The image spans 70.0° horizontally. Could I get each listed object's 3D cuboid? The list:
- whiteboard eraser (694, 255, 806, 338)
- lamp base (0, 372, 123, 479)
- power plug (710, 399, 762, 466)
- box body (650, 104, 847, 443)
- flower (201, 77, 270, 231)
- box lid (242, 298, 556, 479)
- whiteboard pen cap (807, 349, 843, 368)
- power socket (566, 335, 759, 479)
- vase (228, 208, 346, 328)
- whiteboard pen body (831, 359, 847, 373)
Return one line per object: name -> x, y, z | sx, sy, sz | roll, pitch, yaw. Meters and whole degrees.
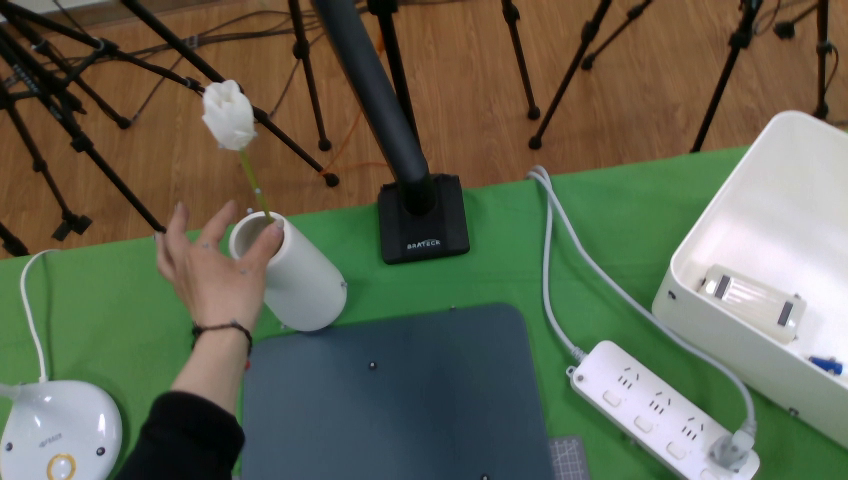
whiteboard eraser -> 0.381, 0.066, 0.713 | 0.112, 0.042, 0.055 | 26, 74, 15
lamp base -> -0.478, 0.214, 0.702 | 0.160, 0.182, 0.177 | -37, 64, -9
power plug -> 0.338, 0.210, 0.645 | 0.072, 0.053, 0.035 | -35, 65, -12
box body -> 0.463, 0.062, 0.646 | 0.361, 0.162, 0.253 | 35, 75, 20
flower -> -0.167, -0.013, 0.658 | 0.043, 0.365, 0.038 | 27, 56, 24
box lid -> -0.040, 0.216, 0.733 | 0.371, 0.015, 0.261 | -9, 65, 4
whiteboard pen cap -> 0.455, 0.135, 0.687 | 0.033, 0.018, 0.018 | 11, 68, 14
power socket -> 0.267, 0.197, 0.687 | 0.225, 0.033, 0.072 | 39, 76, 22
vase -> -0.160, 0.036, 0.726 | 0.098, 0.201, 0.097 | -3, 64, 6
whiteboard pen body -> 0.510, 0.148, 0.673 | 0.140, 0.017, 0.017 | 10, 68, 14
